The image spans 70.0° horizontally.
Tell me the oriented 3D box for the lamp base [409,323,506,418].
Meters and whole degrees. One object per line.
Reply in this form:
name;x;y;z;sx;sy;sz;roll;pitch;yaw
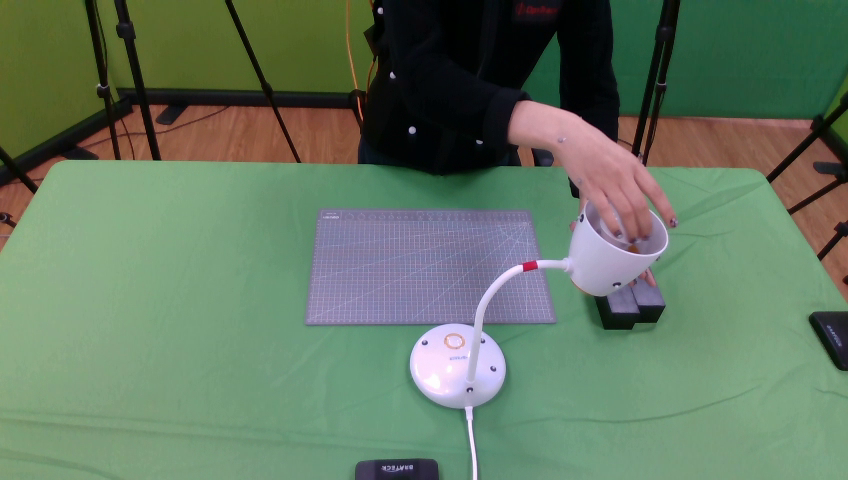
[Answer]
lamp base;0.063;0.161;0.940;0.161;0.181;0.178;-10;51;-13

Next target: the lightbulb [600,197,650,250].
lightbulb;0.248;-0.007;0.778;0.059;0.108;0.059;11;42;-9

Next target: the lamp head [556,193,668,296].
lamp head;0.236;0.017;0.794;0.113;0.123;0.111;14;43;-13
